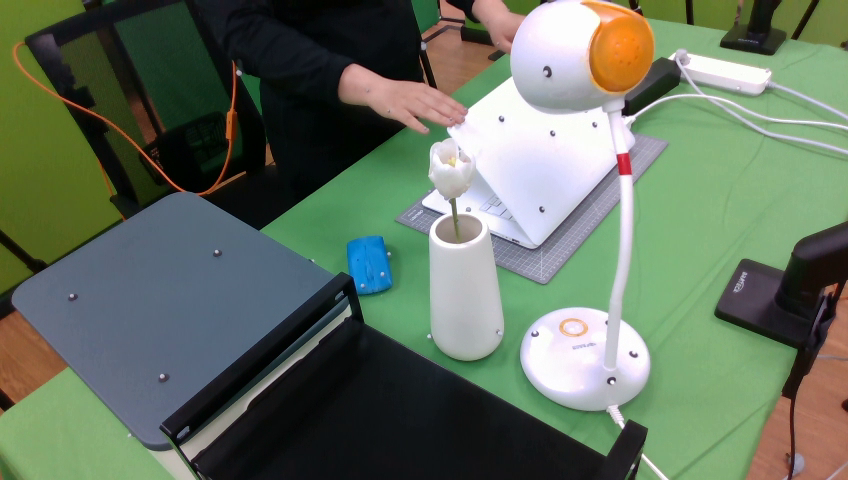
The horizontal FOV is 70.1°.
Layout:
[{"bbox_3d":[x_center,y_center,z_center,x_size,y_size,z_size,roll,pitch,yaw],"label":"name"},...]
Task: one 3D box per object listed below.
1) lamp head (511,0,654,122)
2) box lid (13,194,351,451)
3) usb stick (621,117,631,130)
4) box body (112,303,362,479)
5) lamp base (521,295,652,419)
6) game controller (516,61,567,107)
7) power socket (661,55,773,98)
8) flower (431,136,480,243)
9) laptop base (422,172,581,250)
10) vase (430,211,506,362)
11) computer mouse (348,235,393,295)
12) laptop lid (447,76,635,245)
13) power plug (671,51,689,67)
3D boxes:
[{"bbox_3d":[0.155,-0.168,0.564,0.113,0.113,0.122,-18,23,-12],"label":"lamp head"},{"bbox_3d":[-0.292,0.067,0.717,0.368,0.015,0.264,25,50,33],"label":"box lid"},{"bbox_3d":[0.370,-0.207,1.147,0.021,0.027,0.059,26,55,32],"label":"usb stick"},{"bbox_3d":[-0.285,0.123,0.766,0.361,0.161,0.255,25,49,33],"label":"box body"},{"bbox_3d":[0.200,0.095,0.710,0.161,0.181,0.177,-17,43,-10],"label":"lamp base"},{"bbox_3d":[0.259,-0.352,1.336,0.097,0.052,0.154,-3,41,2],"label":"game controller"},{"bbox_3d":[0.619,-0.352,1.289,0.225,0.033,0.072,26,51,33],"label":"power socket"},{"bbox_3d":[0.041,0.011,0.691,0.044,0.363,0.038,16,62,14],"label":"flower"},{"bbox_3d":[0.192,-0.116,1.087,0.233,0.023,0.355,21,48,34],"label":"laptop base"},{"bbox_3d":[0.054,0.062,0.757,0.098,0.201,0.097,-3,40,3],"label":"vase"},{"bbox_3d":[-0.085,0.034,0.936,0.063,0.041,0.116,-8,45,-4],"label":"computer mouse"},{"bbox_3d":[0.212,-0.175,1.007,0.358,0.013,0.242,-40,95,-34],"label":"laptop lid"},{"bbox_3d":[0.541,-0.378,1.301,0.073,0.053,0.035,-33,46,-24],"label":"power plug"}]
